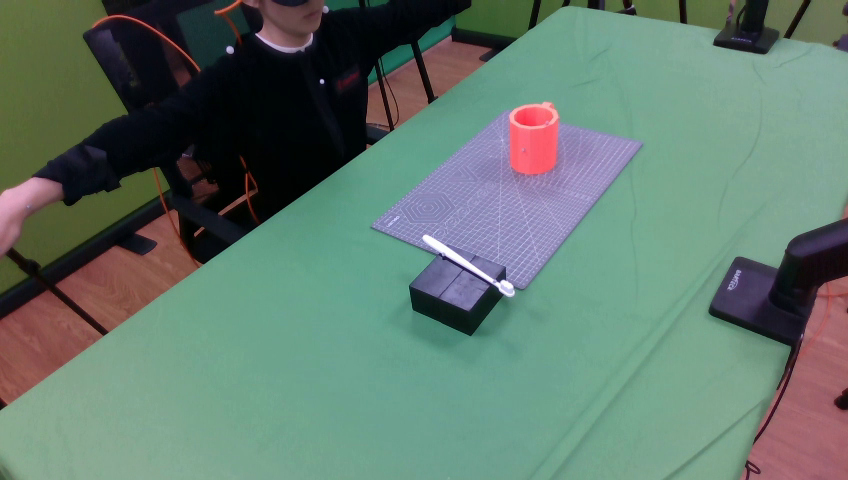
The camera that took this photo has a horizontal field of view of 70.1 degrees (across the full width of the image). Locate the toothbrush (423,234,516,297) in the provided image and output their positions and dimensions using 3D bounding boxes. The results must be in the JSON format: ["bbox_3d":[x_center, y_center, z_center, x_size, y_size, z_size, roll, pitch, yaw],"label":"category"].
[{"bbox_3d":[0.060,0.031,0.859,0.014,0.017,0.180,-36,48,-25],"label":"toothbrush"}]

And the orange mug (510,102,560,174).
[{"bbox_3d":[0.210,-0.195,1.108,0.083,0.101,0.126,16,50,26],"label":"orange mug"}]
